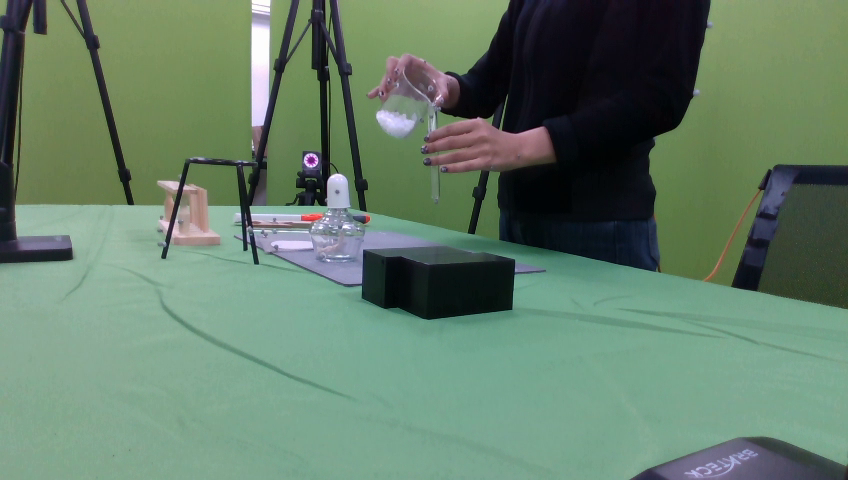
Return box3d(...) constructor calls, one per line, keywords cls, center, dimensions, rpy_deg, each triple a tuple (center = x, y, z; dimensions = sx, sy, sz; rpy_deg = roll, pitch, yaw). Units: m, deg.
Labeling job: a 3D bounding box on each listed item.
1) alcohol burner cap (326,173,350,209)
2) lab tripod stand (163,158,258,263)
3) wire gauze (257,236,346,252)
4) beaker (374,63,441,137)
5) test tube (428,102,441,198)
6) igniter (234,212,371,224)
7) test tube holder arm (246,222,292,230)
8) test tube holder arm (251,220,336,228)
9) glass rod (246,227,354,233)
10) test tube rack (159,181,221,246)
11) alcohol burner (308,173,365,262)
box3d(cls="alcohol burner cap", center=(-0.116, -0.065, 0.808), dimensions=(0.034, 0.048, 0.034), rpy_deg=(-3, 10, 1))
box3d(cls="lab tripod stand", center=(-0.265, -0.041, 0.802), dimensions=(0.148, 0.131, 0.148), rpy_deg=(4, 7, 0))
box3d(cls="wire gauze", center=(-0.189, 0.005, 0.931), dimensions=(0.122, 0.011, 0.124), rpy_deg=(1, 7, -21))
box3d(cls="beaker", center=(-0.028, -0.223, 0.989), dimensions=(0.074, 0.083, 0.100), rpy_deg=(-8, -30, -46))
box3d(cls="test tube", center=(0.016, -0.140, 0.944), dimensions=(0.017, 0.150, 0.017), rpy_deg=(-2, -3, 0))
box3d(cls="igniter", center=(-0.245, -0.045, 1.248), dimensions=(0.278, 0.025, 0.057), rpy_deg=(-1, -2, -25))
box3d(cls="test tube holder arm", center=(-0.291, -0.026, 1.130), dimensions=(0.088, 0.015, 0.010), rpy_deg=(-1, 42, -30))
box3d(cls="test tube holder arm", center=(-0.253, -0.030, 1.156), dimensions=(0.179, 0.015, 0.013), rpy_deg=(-1, 42, -30))
box3d(cls="glass rod", center=(-0.224, -0.017, 1.109), dimensions=(0.201, 0.008, 0.008), rpy_deg=(1, 7, -27))
box3d(cls="test tube rack", center=(-0.395, -0.050, 1.010), dimensions=(0.067, 0.085, 0.241), rpy_deg=(-2, 8, -28))
box3d(cls="alcohol burner", center=(-0.117, -0.030, 0.813), dimensions=(0.078, 0.119, 0.078), rpy_deg=(4, 9, 0))
